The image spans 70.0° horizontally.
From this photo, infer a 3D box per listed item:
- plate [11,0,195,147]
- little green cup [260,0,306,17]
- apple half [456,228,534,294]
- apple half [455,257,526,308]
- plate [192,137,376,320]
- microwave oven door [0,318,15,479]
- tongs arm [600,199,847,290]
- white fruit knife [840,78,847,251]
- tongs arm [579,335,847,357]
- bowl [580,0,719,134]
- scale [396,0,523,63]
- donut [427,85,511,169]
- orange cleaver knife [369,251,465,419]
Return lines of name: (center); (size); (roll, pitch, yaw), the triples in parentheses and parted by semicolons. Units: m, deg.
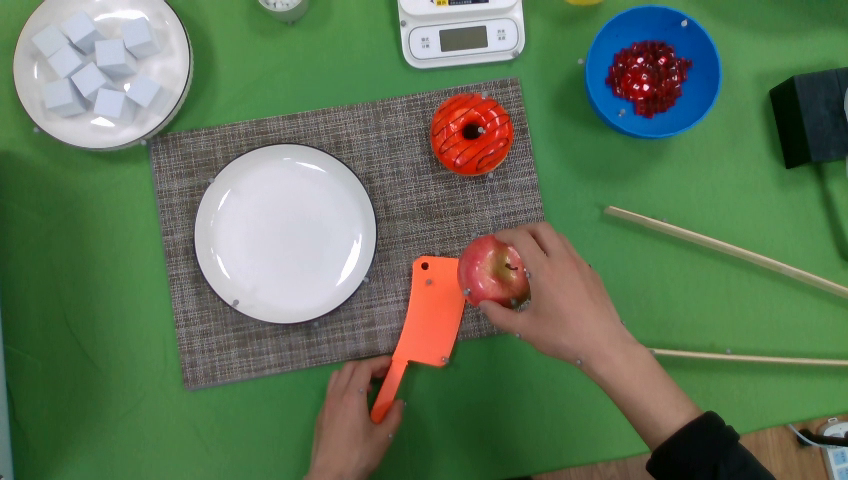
plate: (-0.372, -0.209, 0.716); (0.208, 0.039, 0.207); (0, 86, 0)
little green cup: (-0.170, -0.299, 0.723); (0.061, 0.038, 0.061); (0, 85, 0)
apple half: (0.077, 0.017, 0.620); (0.081, 0.075, 0.053); (30, 75, 0)
apple half: (0.060, 0.050, 0.612); (0.081, 0.081, 0.032); (29, 75, 2)
plate: (-0.158, -0.013, 0.700); (0.209, 0.038, 0.208); (0, 86, 0)
microwave oven door: (-0.494, 0.120, 0.571); (0.039, 0.244, 0.355); (-8, 86, 0)
tongs arm: (0.391, 0.024, 0.707); (0.387, 0.028, 0.028); (20, 79, 1)
white fruit knife: (0.489, -0.079, 0.692); (0.016, 0.027, 0.208); (-12, 101, -1)
tongs arm: (0.374, 0.109, 0.699); (0.385, 0.026, 0.050); (5, 82, 0)
bowl: (0.248, -0.188, 0.699); (0.151, 0.077, 0.151); (0, 86, 0)
scale: (0.037, -0.319, 0.729); (0.149, 0.031, 0.200); (-6, 87, 0)
donut: (0.052, -0.131, 0.706); (0.099, 0.048, 0.099); (0, 87, 2)
orange cleaver knife: (-0.004, 0.109, 0.700); (0.077, 0.012, 0.211); (19, 83, -7)
